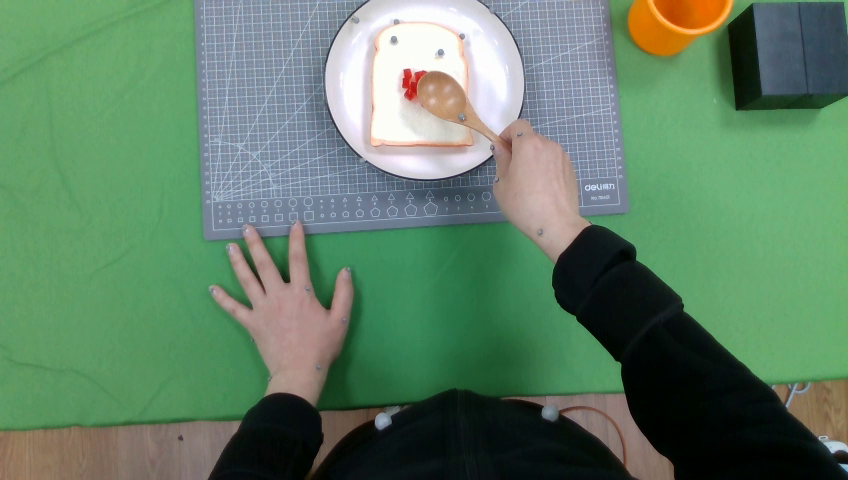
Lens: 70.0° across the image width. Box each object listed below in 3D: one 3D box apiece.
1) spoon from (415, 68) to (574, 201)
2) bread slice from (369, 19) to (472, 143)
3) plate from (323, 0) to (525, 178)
[{"bbox_3d":[0.067,-0.100,0.584,0.193,0.022,0.041,42,85,14],"label":"spoon"},{"bbox_3d":[-0.007,-0.165,0.636,0.107,0.018,0.134,-4,85,-4],"label":"bread slice"},{"bbox_3d":[0.001,-0.164,0.636,0.209,0.038,0.208,0,85,-3],"label":"plate"}]
